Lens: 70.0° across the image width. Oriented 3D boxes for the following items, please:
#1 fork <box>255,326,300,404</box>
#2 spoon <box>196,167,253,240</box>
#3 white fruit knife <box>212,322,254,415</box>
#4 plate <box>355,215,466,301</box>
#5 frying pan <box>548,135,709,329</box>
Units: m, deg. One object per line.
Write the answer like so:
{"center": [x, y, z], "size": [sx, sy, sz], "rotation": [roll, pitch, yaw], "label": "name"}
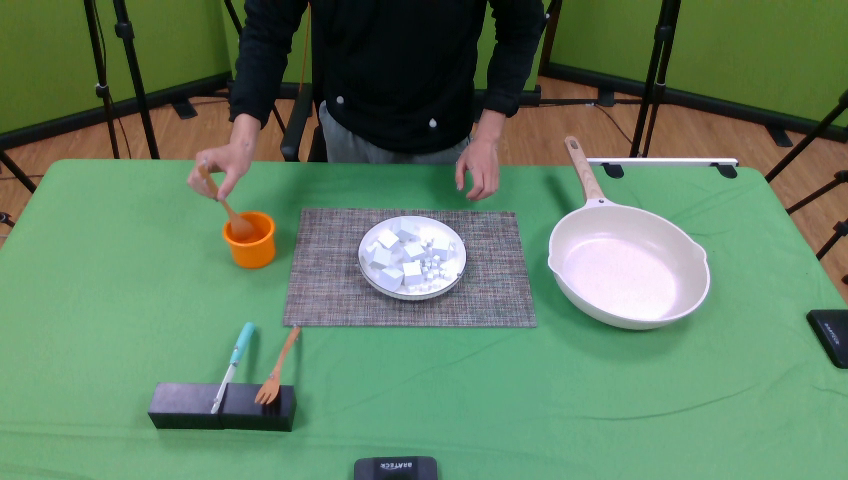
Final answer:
{"center": [-0.226, 0.192, 0.955], "size": [0.028, 0.019, 0.206], "rotation": [0, 27, 4], "label": "fork"}
{"center": [-0.355, -0.061, 1.073], "size": [0.041, 0.195, 0.021], "rotation": [-33, 49, -11], "label": "spoon"}
{"center": [-0.298, 0.193, 0.947], "size": [0.016, 0.027, 0.206], "rotation": [1, 31, -1], "label": "white fruit knife"}
{"center": [-0.025, 0.038, 1.143], "size": [0.208, 0.039, 0.206], "rotation": [3, 46, -2], "label": "plate"}
{"center": [0.360, -0.033, 1.200], "size": [0.307, 0.103, 0.484], "rotation": [-4, 55, -9], "label": "frying pan"}
